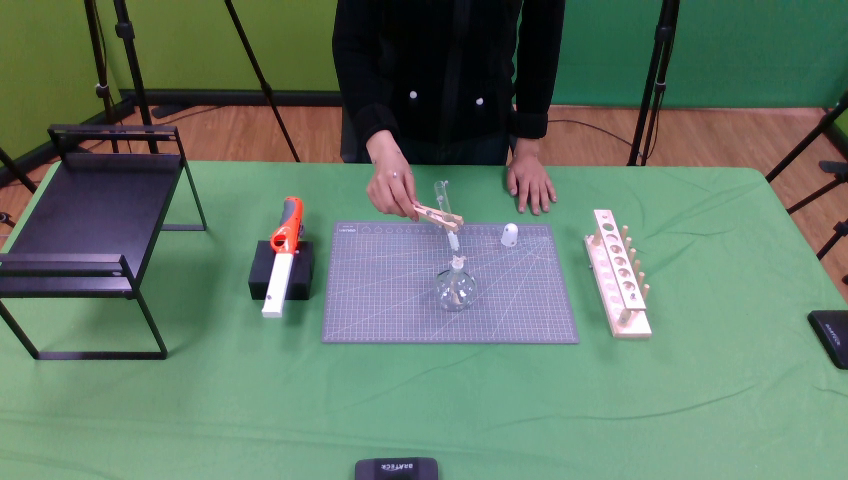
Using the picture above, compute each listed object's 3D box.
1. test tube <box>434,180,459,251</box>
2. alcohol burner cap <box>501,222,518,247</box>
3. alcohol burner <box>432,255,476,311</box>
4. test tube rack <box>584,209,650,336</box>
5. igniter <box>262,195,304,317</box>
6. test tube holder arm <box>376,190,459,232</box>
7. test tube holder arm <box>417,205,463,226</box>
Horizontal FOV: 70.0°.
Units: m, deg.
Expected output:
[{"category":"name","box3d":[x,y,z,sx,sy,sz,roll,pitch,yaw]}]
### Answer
[{"category":"test tube","box3d":[0.037,-0.034,0.946,0.017,0.151,0.017,-8,47,9]},{"category":"alcohol burner cap","box3d":[0.172,-0.013,1.207,0.034,0.048,0.033,1,45,-1]},{"category":"alcohol burner","box3d":[0.055,0.070,1.068,0.078,0.119,0.077,3,45,-3]},{"category":"test tube rack","box3d":[0.365,0.056,1.129,0.067,0.085,0.240,1,46,-3]},{"category":"igniter","box3d":[-0.252,0.020,1.090,0.057,0.025,0.275,0,49,-1]},{"category":"test tube holder arm","box3d":[-0.015,-0.049,0.987,0.177,0.015,0.013,23,55,35]},{"category":"test tube holder arm","box3d":[0.023,-0.040,0.965,0.087,0.015,0.010,17,52,31]}]
